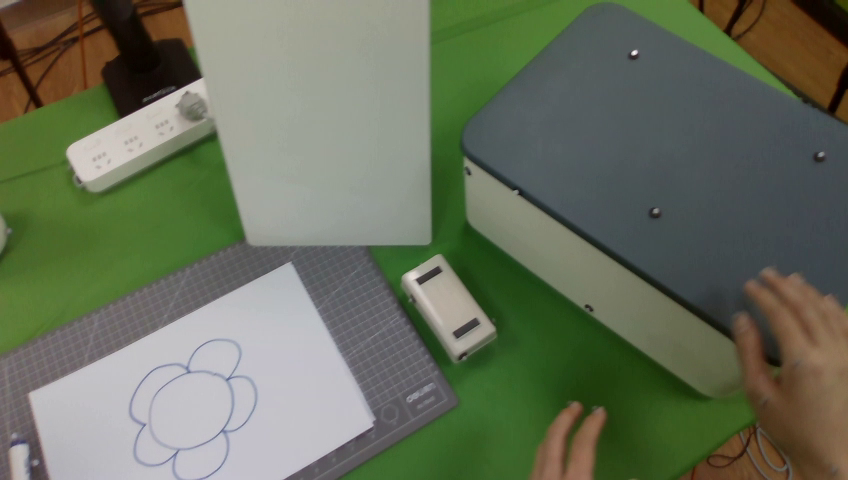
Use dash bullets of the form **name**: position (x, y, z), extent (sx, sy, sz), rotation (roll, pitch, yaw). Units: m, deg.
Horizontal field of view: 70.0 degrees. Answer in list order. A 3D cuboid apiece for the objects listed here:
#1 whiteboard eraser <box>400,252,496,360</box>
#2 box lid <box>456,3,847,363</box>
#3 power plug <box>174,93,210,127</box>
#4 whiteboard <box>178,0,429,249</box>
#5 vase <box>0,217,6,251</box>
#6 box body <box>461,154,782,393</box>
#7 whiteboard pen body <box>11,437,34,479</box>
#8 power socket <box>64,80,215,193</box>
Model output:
- **whiteboard eraser**: position (0.025, 0.071, 0.655), extent (0.055, 0.042, 0.111), rotation (-30, 65, -16)
- **box lid**: position (0.240, -0.083, 0.579), extent (0.369, 0.015, 0.263), rotation (37, 69, 19)
- **power plug**: position (-0.291, -0.154, 0.764), extent (0.035, 0.053, 0.072), rotation (-23, 69, -11)
- **whiteboard**: position (-0.103, -0.152, 0.665), extent (0.217, 0.308, 0.142), rotation (0, 41, 2)
- **vase**: position (-0.544, -0.038, 0.637), extent (0.098, 0.201, 0.097), rotation (-1, 61, 2)
- **box body**: position (0.244, -0.044, 0.644), extent (0.361, 0.161, 0.253), rotation (37, 68, 19)
- **whiteboard pen body**: position (-0.374, 0.254, 0.571), extent (0.017, 0.017, 0.139), rotation (-20, 65, -9)
- **power socket**: position (-0.349, -0.137, 0.782), extent (0.227, 0.033, 0.071), rotation (-33, 66, -16)
